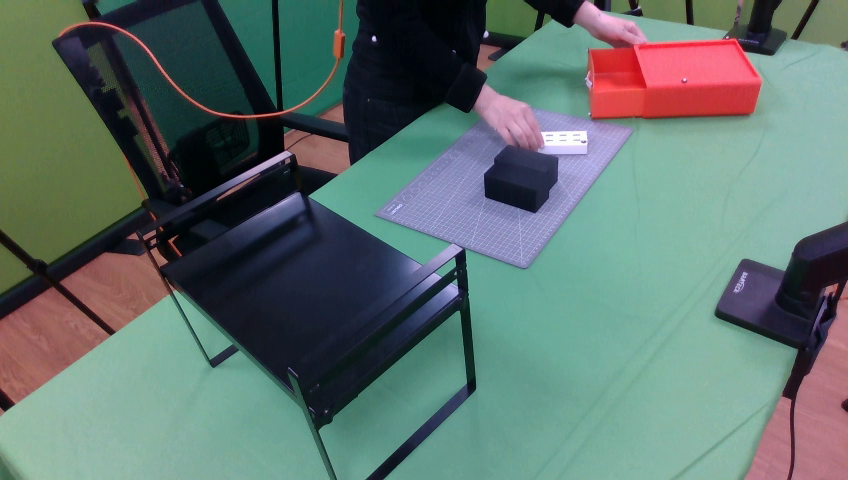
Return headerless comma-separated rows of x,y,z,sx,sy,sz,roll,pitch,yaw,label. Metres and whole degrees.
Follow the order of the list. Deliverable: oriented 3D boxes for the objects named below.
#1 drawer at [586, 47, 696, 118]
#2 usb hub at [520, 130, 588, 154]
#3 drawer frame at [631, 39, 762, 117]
0.445,-0.329,1.251,0.211,0.073,0.194,2,41,9,drawer
0.246,-0.185,1.148,0.125,0.025,0.049,1,43,10,usb hub
0.539,-0.332,1.234,0.213,0.083,0.201,0,41,7,drawer frame
